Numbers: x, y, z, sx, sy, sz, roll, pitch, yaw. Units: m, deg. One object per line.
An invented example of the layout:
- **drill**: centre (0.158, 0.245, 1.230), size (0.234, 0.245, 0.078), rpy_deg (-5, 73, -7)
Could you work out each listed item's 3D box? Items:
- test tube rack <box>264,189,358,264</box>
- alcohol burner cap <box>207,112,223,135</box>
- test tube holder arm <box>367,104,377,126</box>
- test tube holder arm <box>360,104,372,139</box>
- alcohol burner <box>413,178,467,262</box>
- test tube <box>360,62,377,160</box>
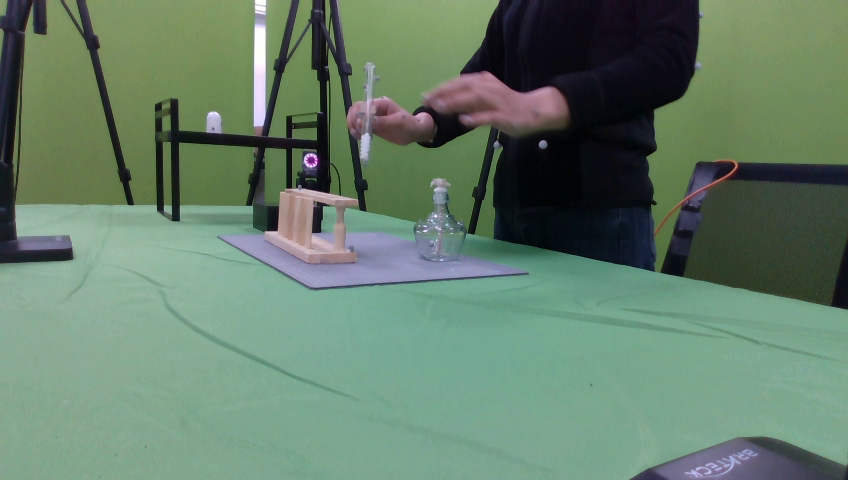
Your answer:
- **test tube rack**: centre (-0.174, -0.027, 0.890), size (0.067, 0.085, 0.241), rpy_deg (-1, 8, -28)
- **alcohol burner cap**: centre (-0.440, -0.245, 1.271), size (0.034, 0.048, 0.034), rpy_deg (1, 7, 0)
- **test tube holder arm**: centre (-0.082, -0.192, 0.936), size (0.010, 0.015, 0.087), rpy_deg (6, -4, -11)
- **test tube holder arm**: centre (-0.093, -0.190, 0.980), size (0.013, 0.015, 0.178), rpy_deg (6, -4, -3)
- **alcohol burner**: centre (0.023, -0.029, 0.863), size (0.078, 0.119, 0.078), rpy_deg (1, 7, 0)
- **test tube**: centre (-0.084, -0.194, 0.913), size (0.017, 0.150, 0.017), rpy_deg (4, -4, 1)
